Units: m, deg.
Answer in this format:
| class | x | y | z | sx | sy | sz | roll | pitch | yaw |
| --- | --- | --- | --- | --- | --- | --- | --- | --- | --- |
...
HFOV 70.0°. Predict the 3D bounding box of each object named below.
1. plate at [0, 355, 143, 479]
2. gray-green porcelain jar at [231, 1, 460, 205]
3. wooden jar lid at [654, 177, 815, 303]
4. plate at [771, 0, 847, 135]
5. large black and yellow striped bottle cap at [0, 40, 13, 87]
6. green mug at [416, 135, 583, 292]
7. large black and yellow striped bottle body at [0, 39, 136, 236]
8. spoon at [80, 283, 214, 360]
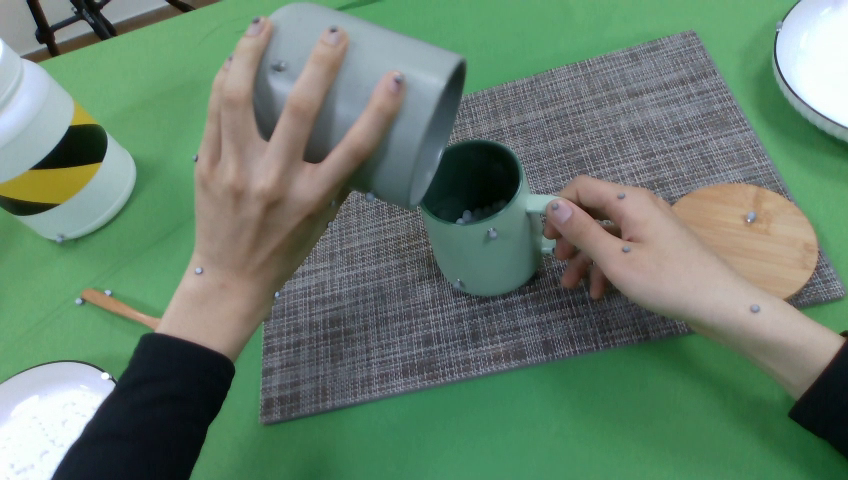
| class | x | y | z | sx | sy | sz | roll | pitch | yaw |
| --- | --- | --- | --- | --- | --- | --- | --- | --- | --- |
| plate | -0.319 | 0.197 | 0.493 | 0.209 | 0.038 | 0.207 | -8 | 57 | 12 |
| gray-green porcelain jar | -0.053 | -0.093 | 0.403 | 0.126 | 0.106 | 0.105 | 20 | 65 | 7 |
| wooden jar lid | 0.231 | 0.001 | 0.457 | 0.108 | 0.021 | 0.107 | -8 | 57 | 14 |
| plate | 0.399 | -0.152 | 0.496 | 0.207 | 0.039 | 0.205 | -8 | 57 | 12 |
| large black and yellow striped bottle cap | -0.429 | -0.144 | 0.548 | 0.115 | 0.019 | 0.114 | -8 | 56 | 12 |
| green mug | 0.059 | -0.017 | 0.468 | 0.125 | 0.106 | 0.092 | 6 | 60 | 20 |
| large black and yellow striped bottle body | -0.407 | -0.102 | 0.617 | 0.130 | 0.186 | 0.129 | -7 | 57 | 12 |
| spoon | -0.264 | 0.067 | 0.567 | 0.192 | 0.022 | 0.041 | 16 | 81 | 25 |
